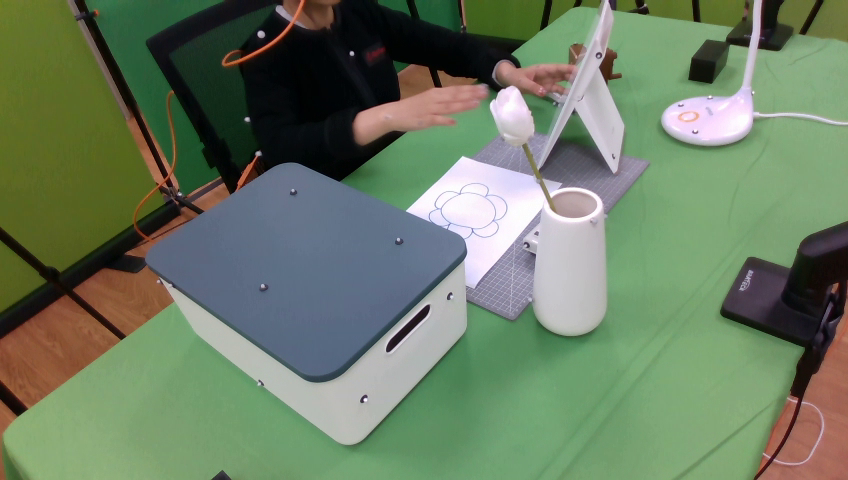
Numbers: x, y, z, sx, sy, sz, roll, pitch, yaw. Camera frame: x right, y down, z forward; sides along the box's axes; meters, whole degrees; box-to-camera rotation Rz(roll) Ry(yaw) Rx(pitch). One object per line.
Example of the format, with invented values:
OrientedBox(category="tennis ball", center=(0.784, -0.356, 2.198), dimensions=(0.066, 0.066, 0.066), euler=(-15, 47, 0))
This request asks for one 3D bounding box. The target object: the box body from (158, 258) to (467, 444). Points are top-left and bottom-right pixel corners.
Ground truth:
OrientedBox(category="box body", center=(-0.147, 0.072, 0.816), dimensions=(0.361, 0.161, 0.255), euler=(24, 50, 33))

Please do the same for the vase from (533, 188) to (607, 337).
OrientedBox(category="vase", center=(0.187, 0.033, 0.771), dimensions=(0.098, 0.201, 0.097), euler=(-6, 41, 6))

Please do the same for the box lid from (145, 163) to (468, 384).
OrientedBox(category="box lid", center=(-0.157, 0.014, 0.769), dimensions=(0.368, 0.015, 0.264), euler=(25, 51, 33))

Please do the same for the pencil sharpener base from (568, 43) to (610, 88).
OrientedBox(category="pencil sharpener base", center=(0.345, -0.352, 1.263), dimensions=(0.077, 0.107, 0.061), euler=(-8, 40, 1))

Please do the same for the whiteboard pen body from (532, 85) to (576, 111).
OrientedBox(category="whiteboard pen body", center=(0.277, -0.307, 1.290), dimensions=(0.017, 0.017, 0.139), euler=(-27, 45, -20))

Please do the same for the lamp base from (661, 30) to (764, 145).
OrientedBox(category="lamp base", center=(0.535, -0.287, 1.096), dimensions=(0.179, 0.181, 0.159), euler=(-10, 40, -4))

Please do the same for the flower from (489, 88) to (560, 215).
OrientedBox(category="flower", center=(0.158, -0.027, 0.720), dimensions=(0.038, 0.364, 0.044), euler=(-14, 44, 23))

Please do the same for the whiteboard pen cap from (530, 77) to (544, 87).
OrientedBox(category="whiteboard pen cap", center=(0.248, -0.344, 1.328), dimensions=(0.018, 0.018, 0.033), euler=(-23, 47, -16))

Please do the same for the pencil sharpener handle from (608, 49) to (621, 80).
OrientedBox(category="pencil sharpener handle", center=(0.394, -0.367, 1.253), dimensions=(0.030, 0.068, 0.036), euler=(-8, 32, 1))

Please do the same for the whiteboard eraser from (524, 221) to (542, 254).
OrientedBox(category="whiteboard eraser", center=(0.207, -0.013, 0.938), dimensions=(0.055, 0.042, 0.113), euler=(27, 52, 33))

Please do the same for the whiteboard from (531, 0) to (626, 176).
OrientedBox(category="whiteboard", center=(0.320, -0.259, 1.050), dimensions=(0.144, 0.306, 0.217), euler=(22, 45, 5))
